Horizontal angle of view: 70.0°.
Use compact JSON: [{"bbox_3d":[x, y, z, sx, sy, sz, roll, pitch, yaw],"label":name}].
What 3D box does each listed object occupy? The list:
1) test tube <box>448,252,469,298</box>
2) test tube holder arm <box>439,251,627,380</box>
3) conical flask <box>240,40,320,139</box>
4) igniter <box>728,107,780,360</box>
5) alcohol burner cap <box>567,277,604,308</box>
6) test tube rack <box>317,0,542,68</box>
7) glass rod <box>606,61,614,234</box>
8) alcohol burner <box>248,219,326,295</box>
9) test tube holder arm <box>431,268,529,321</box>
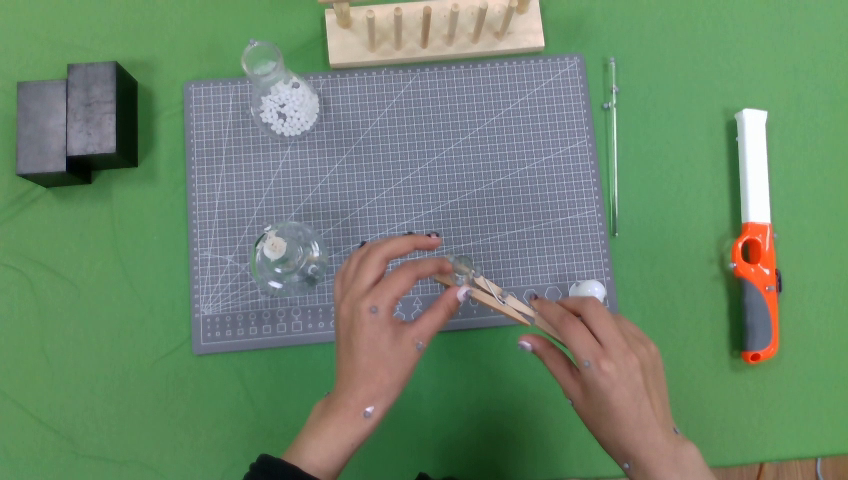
[{"bbox_3d":[0.029,0.032,0.510,0.017,0.151,0.017,-1,77,3],"label":"test tube"},{"bbox_3d":[0.089,0.062,0.495,0.178,0.015,0.013,32,86,2],"label":"test tube holder arm"},{"bbox_3d":[-0.151,-0.156,0.614,0.075,0.122,0.075,0,81,-1],"label":"conical flask"},{"bbox_3d":[0.357,-0.010,0.658,0.057,0.025,0.275,5,81,-11],"label":"igniter"},{"bbox_3d":[0.171,0.053,0.632,0.034,0.048,0.033,0,80,-1],"label":"alcohol burner cap"},{"bbox_3d":[0.011,-0.246,0.655,0.242,0.085,0.066,-6,81,-3],"label":"test tube rack"},{"bbox_3d":[0.208,-0.105,0.678,0.008,0.008,0.199,2,84,-2],"label":"glass rod"},{"bbox_3d":[-0.138,0.014,0.593,0.078,0.119,0.077,0,80,1],"label":"alcohol burner"},{"bbox_3d":[0.047,0.045,0.496,0.088,0.015,0.010,24,85,1],"label":"test tube holder arm"}]
